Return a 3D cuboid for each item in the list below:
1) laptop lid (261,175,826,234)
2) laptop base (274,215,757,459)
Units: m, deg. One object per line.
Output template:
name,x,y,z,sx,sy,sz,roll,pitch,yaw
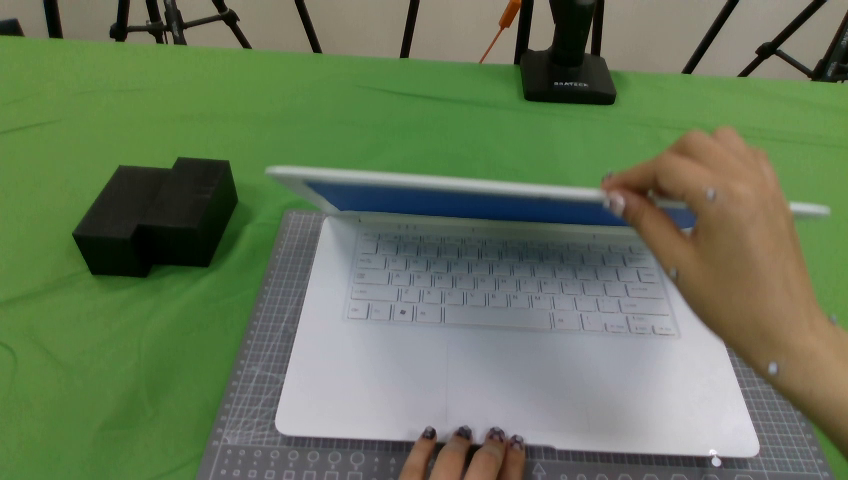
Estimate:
laptop lid,0.074,-0.024,0.480,0.357,0.242,0.013,3,88,1
laptop base,0.070,0.071,0.518,0.354,0.023,0.233,3,46,-1
